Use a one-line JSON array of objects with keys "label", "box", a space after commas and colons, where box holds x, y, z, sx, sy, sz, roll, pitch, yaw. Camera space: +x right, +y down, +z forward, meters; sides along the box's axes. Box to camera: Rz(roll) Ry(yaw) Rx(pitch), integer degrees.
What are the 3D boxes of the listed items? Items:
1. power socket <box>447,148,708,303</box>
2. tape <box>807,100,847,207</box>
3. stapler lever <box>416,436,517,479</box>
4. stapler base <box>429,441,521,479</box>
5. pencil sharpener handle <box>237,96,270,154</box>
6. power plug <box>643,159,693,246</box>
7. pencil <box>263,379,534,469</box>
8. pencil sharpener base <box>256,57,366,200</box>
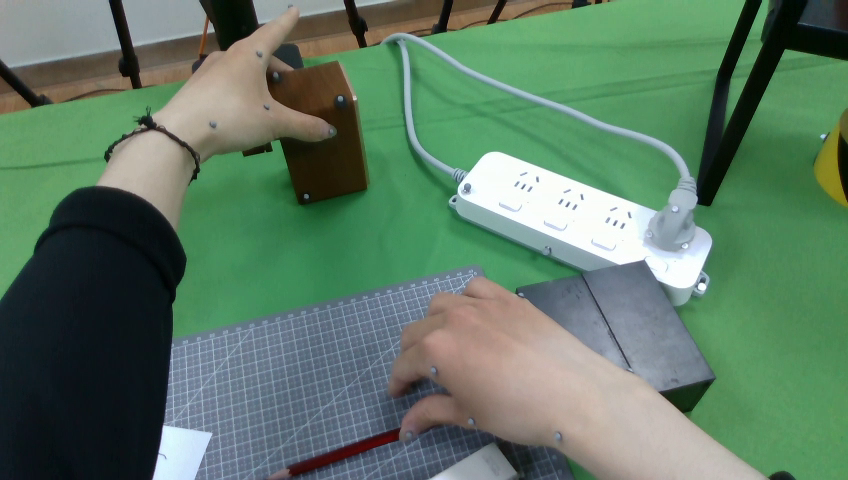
[{"label": "power socket", "box": [0.128, -0.017, 0.518, 0.225, 0.033, 0.072, 25, 55, 21]}, {"label": "tape", "box": [0.419, -0.077, 0.546, 0.117, 0.053, 0.115, -1, 51, 1]}, {"label": "stapler lever", "box": [0.002, 0.152, 0.352, 0.118, 0.040, 0.026, -27, 56, -20]}, {"label": "stapler base", "box": [0.001, 0.169, 0.370, 0.131, 0.024, 0.041, -27, 56, -20]}, {"label": "pencil sharpener handle", "box": [-0.150, -0.094, 0.522, 0.031, 0.068, 0.036, -16, 73, -10]}, {"label": "power plug", "box": [0.206, -0.023, 0.490, 0.035, 0.053, 0.072, 34, 60, 26]}, {"label": "pencil", "box": [-0.016, 0.129, 0.419, 0.194, 0.012, 0.012, -16, 52, -5]}, {"label": "pencil sharpener base", "box": [-0.100, -0.095, 0.539, 0.077, 0.108, 0.060, -16, 53, -11]}]
